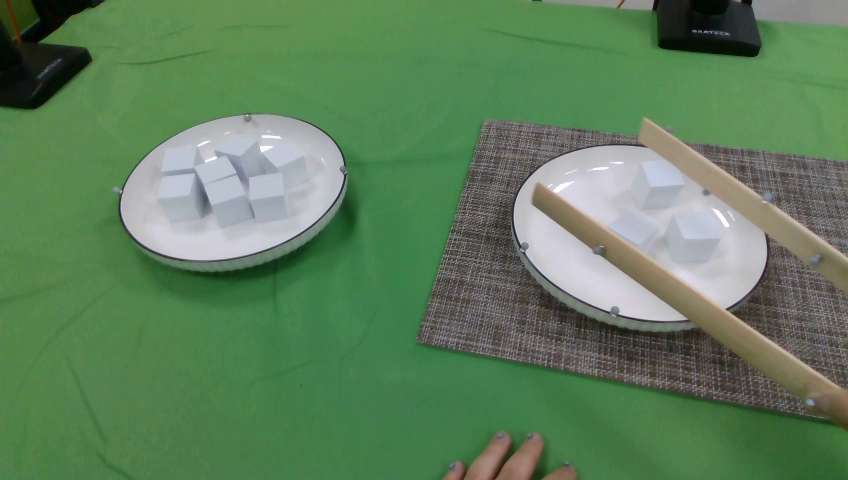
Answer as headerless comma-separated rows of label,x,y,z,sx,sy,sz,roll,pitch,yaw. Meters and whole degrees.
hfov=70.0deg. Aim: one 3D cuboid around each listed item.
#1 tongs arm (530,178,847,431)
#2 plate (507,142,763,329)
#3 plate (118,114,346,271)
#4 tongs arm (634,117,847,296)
tongs arm,0.214,0.066,0.366,0.028,0.028,0.384,-33,57,-29
plate,0.175,-0.006,0.523,0.207,0.039,0.205,-1,48,2
plate,-0.177,-0.045,0.580,0.209,0.038,0.207,-1,47,1
tongs arm,0.266,0.035,0.390,0.051,0.027,0.380,-28,55,-22
